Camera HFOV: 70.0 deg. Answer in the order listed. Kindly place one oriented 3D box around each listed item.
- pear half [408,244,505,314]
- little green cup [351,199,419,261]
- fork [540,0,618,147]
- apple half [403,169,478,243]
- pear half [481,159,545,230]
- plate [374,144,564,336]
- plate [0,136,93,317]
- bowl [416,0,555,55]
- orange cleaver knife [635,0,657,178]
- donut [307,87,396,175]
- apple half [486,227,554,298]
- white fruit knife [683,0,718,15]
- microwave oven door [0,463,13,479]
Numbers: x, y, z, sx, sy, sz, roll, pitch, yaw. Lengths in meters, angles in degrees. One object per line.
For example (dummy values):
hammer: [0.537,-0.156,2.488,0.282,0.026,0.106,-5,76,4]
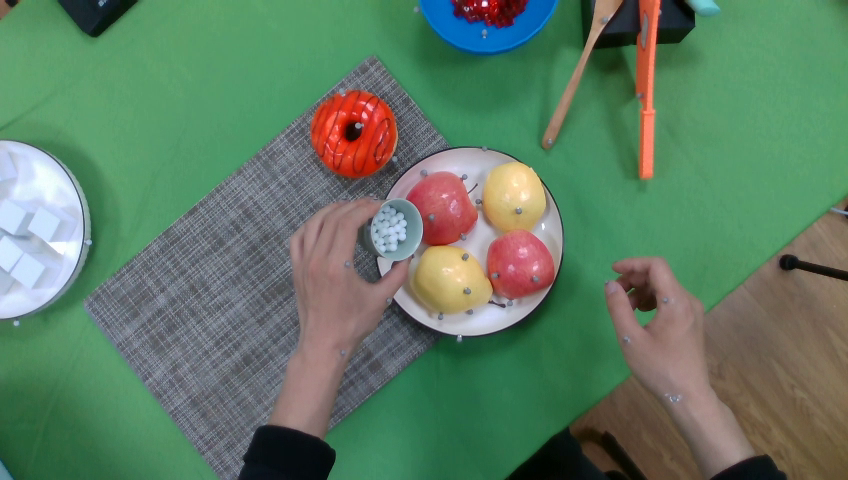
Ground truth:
pear half: [0.040,0.048,0.656,0.110,0.056,0.076,23,95,-1]
little green cup: [-0.040,-0.012,0.596,0.038,0.062,0.061,12,90,47]
fork: [0.167,-0.195,0.643,0.028,0.018,0.208,18,111,-4]
apple half: [0.016,-0.036,0.655,0.074,0.053,0.081,-22,91,4]
pear half: [0.093,-0.042,0.653,0.070,0.031,0.088,-5,103,28]
plate: [0.048,0.000,0.670,0.209,0.038,0.209,0,89,4]
plate: [-0.483,-0.015,0.708,0.207,0.039,0.207,0,89,4]
bowl: [0.066,-0.266,0.655,0.151,0.077,0.151,0,90,3]
orange cleaver knife: [0.232,-0.173,0.642,0.012,0.076,0.213,-3,115,9]
donut: [-0.081,-0.121,0.676,0.099,0.048,0.099,0,92,5]
apple half: [0.095,0.027,0.648,0.081,0.033,0.081,6,105,25]
white fruit knife: [0.229,-0.312,0.627,0.027,0.016,0.207,-36,85,-27]
microwave oven door: [-0.428,0.375,0.580,0.039,0.244,0.355,-37,87,2]
